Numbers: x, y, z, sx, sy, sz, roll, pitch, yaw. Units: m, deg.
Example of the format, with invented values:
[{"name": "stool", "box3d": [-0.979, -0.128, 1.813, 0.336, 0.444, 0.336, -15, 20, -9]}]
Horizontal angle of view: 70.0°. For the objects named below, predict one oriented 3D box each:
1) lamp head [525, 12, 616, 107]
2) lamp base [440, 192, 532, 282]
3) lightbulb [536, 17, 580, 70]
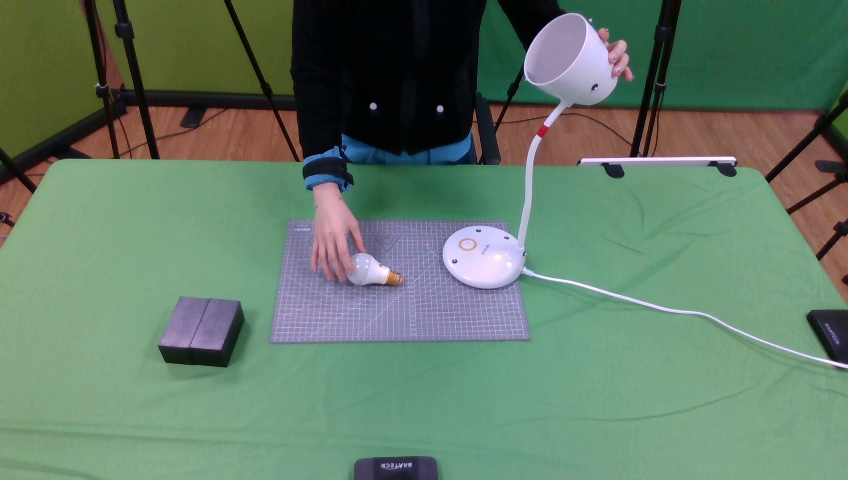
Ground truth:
[{"name": "lamp head", "box3d": [0.221, -0.248, 0.886, 0.112, 0.123, 0.111, -25, 47, 29]}, {"name": "lamp base", "box3d": [0.127, -0.032, 1.123, 0.179, 0.181, 0.159, 11, 46, 2]}, {"name": "lightbulb", "box3d": [0.201, -0.272, 0.874, 0.059, 0.108, 0.059, -18, 53, 26]}]
